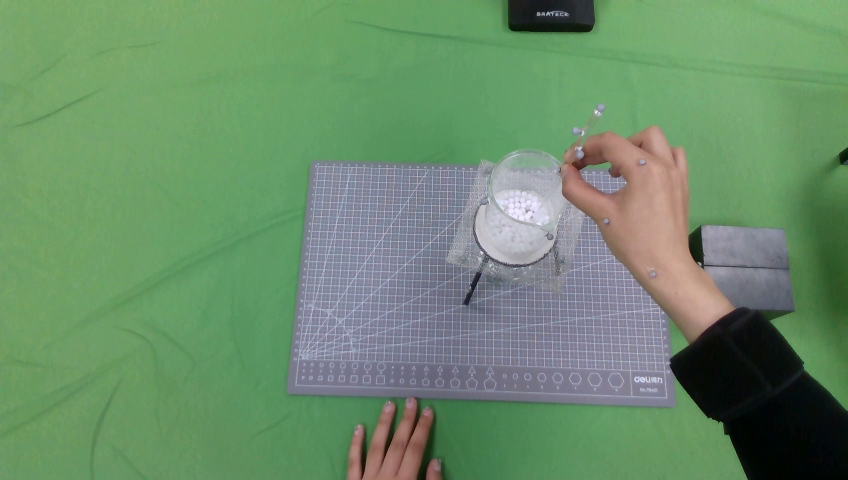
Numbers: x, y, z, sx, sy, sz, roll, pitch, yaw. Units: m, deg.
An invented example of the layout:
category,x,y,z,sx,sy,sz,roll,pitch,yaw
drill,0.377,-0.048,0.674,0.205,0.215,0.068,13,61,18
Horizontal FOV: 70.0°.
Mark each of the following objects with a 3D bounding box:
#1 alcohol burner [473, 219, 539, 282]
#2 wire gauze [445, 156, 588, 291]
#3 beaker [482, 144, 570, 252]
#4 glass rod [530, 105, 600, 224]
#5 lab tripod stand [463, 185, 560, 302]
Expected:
category,x,y,z,sx,sy,sz,roll,pitch,yaw
alcohol burner,0.096,0.007,0.698,0.078,0.120,0.077,0,73,2
wire gauze,0.097,-0.019,0.626,0.121,0.011,0.124,19,71,5
beaker,0.094,-0.032,0.580,0.074,0.101,0.083,-25,74,-7
glass rod,0.116,-0.056,0.524,0.008,0.201,0.008,2,68,-4
lab tripod stand,0.092,0.000,0.690,0.148,0.132,0.147,-1,72,2
